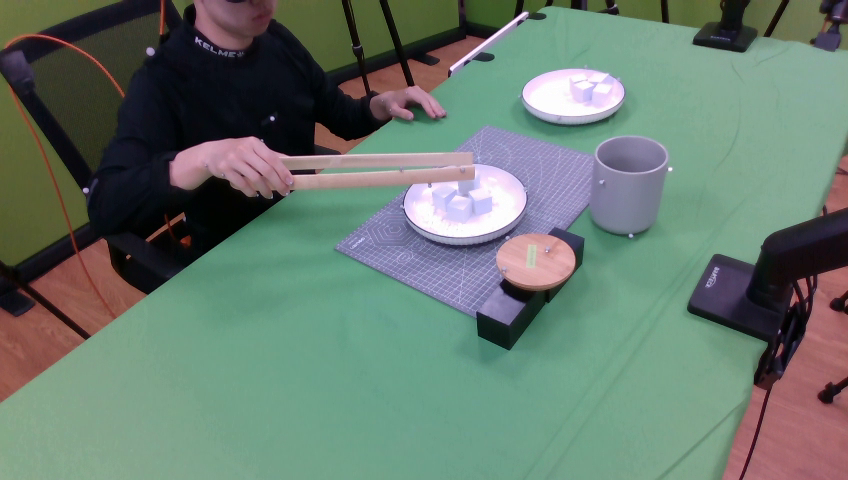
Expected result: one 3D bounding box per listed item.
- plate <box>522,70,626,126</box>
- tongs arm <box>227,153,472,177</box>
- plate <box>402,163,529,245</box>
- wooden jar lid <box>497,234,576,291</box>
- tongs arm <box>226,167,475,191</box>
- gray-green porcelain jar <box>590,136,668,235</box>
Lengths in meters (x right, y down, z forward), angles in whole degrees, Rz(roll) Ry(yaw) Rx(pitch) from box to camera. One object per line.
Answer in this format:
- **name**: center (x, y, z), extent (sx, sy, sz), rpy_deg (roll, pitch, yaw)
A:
- **plate**: center (0.308, -0.290, 1.251), extent (0.207, 0.039, 0.206), rpy_deg (-4, 40, 4)
- **tongs arm**: center (-0.115, -0.120, 0.969), extent (0.388, 0.028, 0.028), rpy_deg (-3, 42, -3)
- **plate**: center (0.069, -0.056, 1.008), extent (0.209, 0.038, 0.208), rpy_deg (-4, 40, 4)
- **wooden jar lid**: center (0.154, 0.032, 0.834), extent (0.108, 0.021, 0.108), rpy_deg (-5, 40, 5)
- **tongs arm**: center (-0.114, -0.102, 0.945), extent (0.386, 0.026, 0.050), rpy_deg (-4, 39, -5)
- **gray-green porcelain jar**: center (0.314, -0.080, 0.937), extent (0.106, 0.127, 0.105), rpy_deg (-4, 41, 4)
